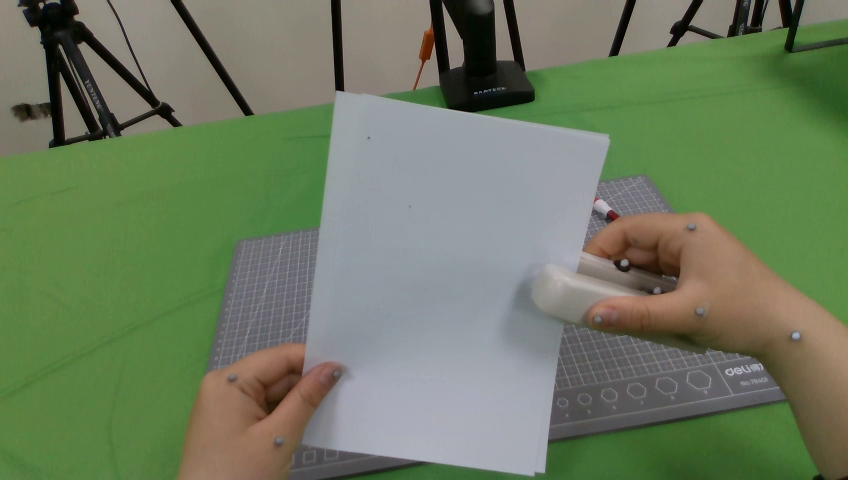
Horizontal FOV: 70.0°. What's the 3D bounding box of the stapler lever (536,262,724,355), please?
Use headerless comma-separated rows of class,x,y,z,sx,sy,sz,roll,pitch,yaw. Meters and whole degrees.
stapler lever,0.123,0.042,0.355,0.118,0.027,0.040,19,17,-6

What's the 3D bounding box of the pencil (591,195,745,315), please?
pencil,0.216,0.008,0.555,0.012,0.012,0.192,-22,41,-15

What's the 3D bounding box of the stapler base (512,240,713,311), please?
stapler base,0.120,0.037,0.373,0.131,0.041,0.024,17,17,-12
